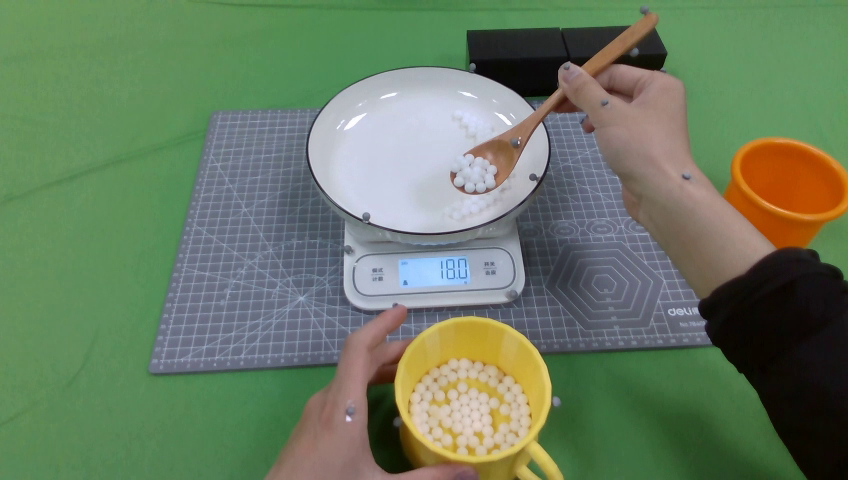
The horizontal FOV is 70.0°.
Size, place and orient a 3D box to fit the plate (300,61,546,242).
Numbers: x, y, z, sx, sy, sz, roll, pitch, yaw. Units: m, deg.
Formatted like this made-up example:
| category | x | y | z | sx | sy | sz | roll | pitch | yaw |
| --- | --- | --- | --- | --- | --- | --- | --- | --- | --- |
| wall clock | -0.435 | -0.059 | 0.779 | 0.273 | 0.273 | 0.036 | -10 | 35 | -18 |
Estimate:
| category | x | y | z | sx | sy | sz | roll | pitch | yaw |
| --- | --- | --- | --- | --- | --- | --- | --- | --- | --- |
| plate | -0.001 | -0.078 | 0.526 | 0.209 | 0.038 | 0.207 | 1 | 53 | -1 |

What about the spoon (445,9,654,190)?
| category | x | y | z | sx | sy | sz | roll | pitch | yaw |
| --- | --- | --- | --- | --- | --- | --- | --- | --- | --- |
| spoon | 0.094 | -0.104 | 0.451 | 0.194 | 0.022 | 0.041 | -41 | 62 | 9 |

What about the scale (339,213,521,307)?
| category | x | y | z | sx | sy | sz | roll | pitch | yaw |
| --- | --- | --- | --- | --- | --- | --- | --- | --- | --- |
| scale | 0.001 | -0.035 | 0.535 | 0.149 | 0.032 | 0.199 | -3 | 53 | -2 |

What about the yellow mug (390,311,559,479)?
| category | x | y | z | sx | sy | sz | roll | pitch | yaw |
| --- | --- | --- | --- | --- | --- | --- | --- | --- | --- |
| yellow mug | 0.039 | 0.116 | 0.404 | 0.100 | 0.064 | 0.129 | -37 | 62 | -23 |
